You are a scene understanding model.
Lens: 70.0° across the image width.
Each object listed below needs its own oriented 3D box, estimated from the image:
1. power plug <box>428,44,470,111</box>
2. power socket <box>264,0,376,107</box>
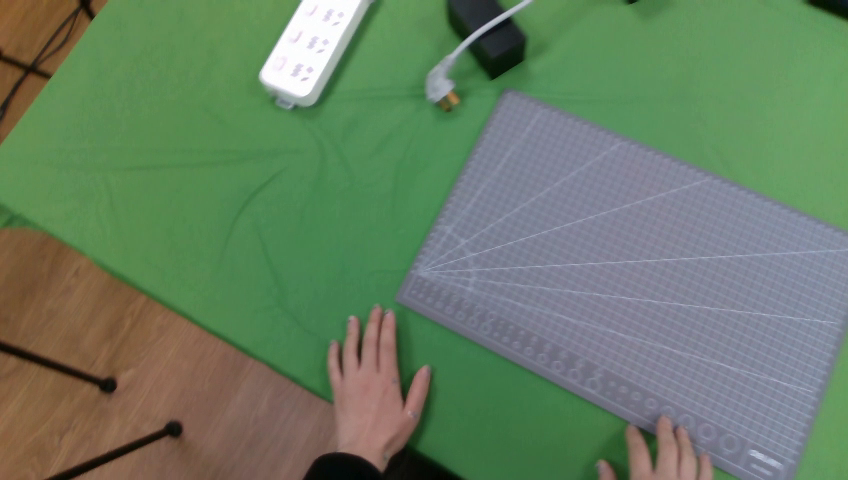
[{"bbox_3d":[0.036,-0.188,0.719,0.072,0.035,0.053,-28,116,31],"label":"power plug"},{"bbox_3d":[-0.122,-0.270,0.762,0.072,0.033,0.226,26,79,8],"label":"power socket"}]
